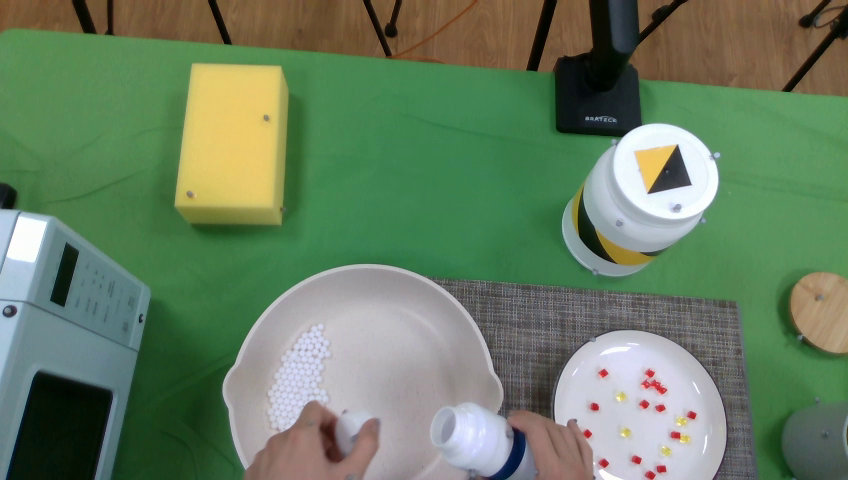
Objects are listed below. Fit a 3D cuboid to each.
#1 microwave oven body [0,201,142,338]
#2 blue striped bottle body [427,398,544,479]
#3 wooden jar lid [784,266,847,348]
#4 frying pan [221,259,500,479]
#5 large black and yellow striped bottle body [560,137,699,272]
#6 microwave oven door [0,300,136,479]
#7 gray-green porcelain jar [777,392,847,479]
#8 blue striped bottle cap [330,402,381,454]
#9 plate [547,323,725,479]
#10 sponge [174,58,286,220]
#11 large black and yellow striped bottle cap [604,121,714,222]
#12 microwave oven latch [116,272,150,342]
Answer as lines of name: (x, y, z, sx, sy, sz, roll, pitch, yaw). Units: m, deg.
microwave oven body: (-0.500, 0.200, 0.556, 0.326, 0.261, 0.439, 5, 71, -2)
blue striped bottle body: (0.059, 0.197, 0.599, 0.122, 0.063, 0.063, 31, 67, -33)
wooden jar lid: (0.522, 0.088, 0.792, 0.108, 0.021, 0.107, 1, 73, -3)
frying pan: (-0.074, 0.261, 0.647, 0.307, 0.103, 0.484, 3, 63, 0)
large black and yellow striped bottle body: (0.249, -0.048, 0.734, 0.131, 0.185, 0.130, 1, 70, -3)
microwave oven door: (-0.358, 0.250, 0.543, 0.039, 0.245, 0.353, 5, 71, -2)
gray-green porcelain jar: (0.478, 0.227, 0.685, 0.106, 0.127, 0.105, 1, 71, -3)
blue striped bottle cap: (-0.062, 0.168, 0.541, 0.044, 0.021, 0.044, -7, 76, 28)
plate: (0.248, 0.204, 0.721, 0.209, 0.038, 0.207, 1, 71, -3)
sponge: (-0.249, -0.132, 0.794, 0.118, 0.061, 0.205, -1, 72, -4)
large black and yellow striped bottle cap: (0.253, -0.076, 0.652, 0.115, 0.019, 0.114, 1, 70, -3)
microwave oven latch: (-0.345, 0.078, 0.709, 0.030, 0.029, 0.078, 7, 72, -1)
